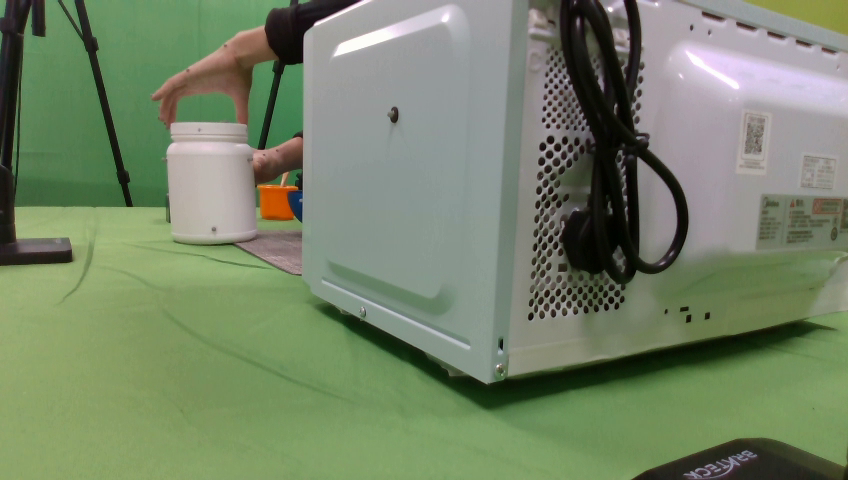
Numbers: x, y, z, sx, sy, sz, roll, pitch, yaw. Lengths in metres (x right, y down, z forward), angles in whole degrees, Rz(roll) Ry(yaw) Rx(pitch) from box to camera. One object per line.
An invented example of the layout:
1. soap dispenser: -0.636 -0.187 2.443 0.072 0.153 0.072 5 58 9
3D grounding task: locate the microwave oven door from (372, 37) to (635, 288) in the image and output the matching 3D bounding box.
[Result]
1. microwave oven door: 0.109 -0.080 0.686 0.358 0.243 0.039 -2 9 -33

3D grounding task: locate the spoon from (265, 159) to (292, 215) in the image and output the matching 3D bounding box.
1. spoon: -0.334 -0.128 1.424 0.041 0.193 0.021 2 -38 5

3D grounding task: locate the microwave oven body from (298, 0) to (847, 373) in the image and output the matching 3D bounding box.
1. microwave oven body: 0.151 -0.055 0.542 0.444 0.260 0.324 -2 7 -33

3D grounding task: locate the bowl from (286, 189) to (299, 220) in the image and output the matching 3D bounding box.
1. bowl: -0.178 -0.051 1.114 0.151 0.077 0.151 2 8 0

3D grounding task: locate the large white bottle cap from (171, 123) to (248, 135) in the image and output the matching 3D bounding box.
1. large white bottle cap: -0.341 -0.176 0.964 0.115 0.018 0.115 1 8 0

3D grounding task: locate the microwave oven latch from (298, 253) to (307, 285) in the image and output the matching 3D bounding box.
1. microwave oven latch: -0.082 0.027 0.583 0.079 0.029 0.030 -2 7 -33

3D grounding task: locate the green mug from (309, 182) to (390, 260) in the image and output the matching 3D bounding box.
1. green mug: -0.102 -0.029 0.864 0.126 0.105 0.092 -3 8 -40

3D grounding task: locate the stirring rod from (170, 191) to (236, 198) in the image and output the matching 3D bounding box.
1. stirring rod: -0.465 -0.097 1.283 0.014 0.006 0.177 43 22 17

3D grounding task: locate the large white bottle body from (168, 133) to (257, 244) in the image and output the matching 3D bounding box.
1. large white bottle body: -0.341 -0.092 0.977 0.131 0.184 0.130 0 8 0
